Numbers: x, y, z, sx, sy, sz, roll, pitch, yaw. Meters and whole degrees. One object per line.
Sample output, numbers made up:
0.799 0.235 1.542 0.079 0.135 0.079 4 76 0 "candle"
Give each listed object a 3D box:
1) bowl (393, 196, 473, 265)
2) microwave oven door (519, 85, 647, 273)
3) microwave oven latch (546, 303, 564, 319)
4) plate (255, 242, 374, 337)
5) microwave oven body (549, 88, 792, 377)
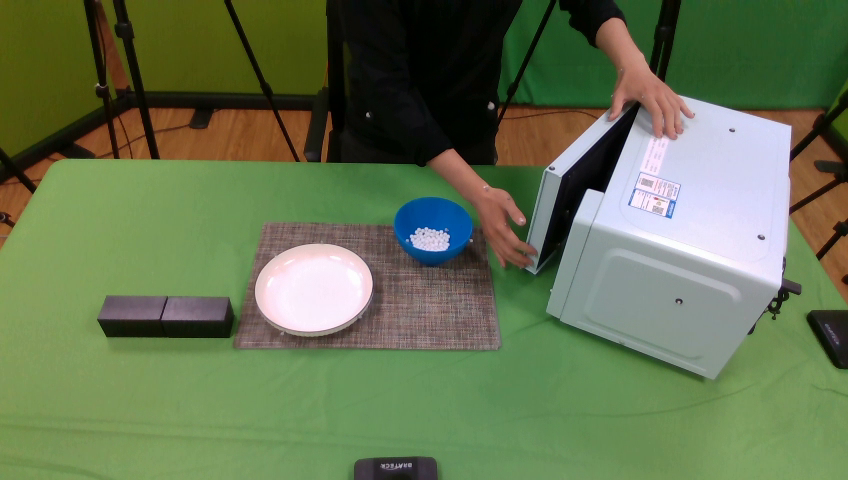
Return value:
0.014 -0.006 1.159 0.151 0.077 0.150 2 46 -2 "bowl"
0.309 -0.123 1.162 0.039 0.245 0.355 32 52 23 "microwave oven door"
0.242 0.102 1.081 0.030 0.029 0.079 21 48 17 "microwave oven latch"
-0.192 0.090 1.079 0.208 0.039 0.206 2 46 -2 "plate"
0.456 -0.028 1.088 0.325 0.261 0.440 20 47 16 "microwave oven body"
